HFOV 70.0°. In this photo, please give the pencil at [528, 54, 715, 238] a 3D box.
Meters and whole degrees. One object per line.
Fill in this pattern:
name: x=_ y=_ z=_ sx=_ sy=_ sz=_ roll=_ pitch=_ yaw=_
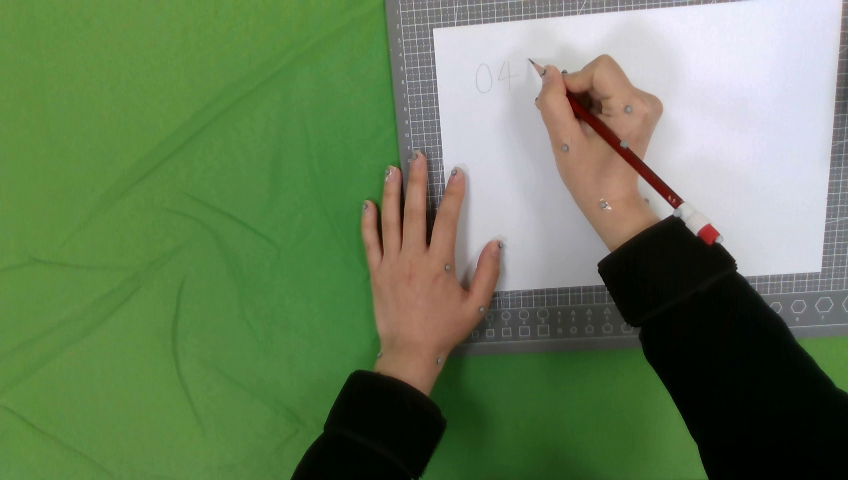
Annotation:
pencil: x=0.123 y=-0.072 z=0.406 sx=0.012 sy=0.012 sz=0.192 roll=-41 pitch=58 yaw=12
